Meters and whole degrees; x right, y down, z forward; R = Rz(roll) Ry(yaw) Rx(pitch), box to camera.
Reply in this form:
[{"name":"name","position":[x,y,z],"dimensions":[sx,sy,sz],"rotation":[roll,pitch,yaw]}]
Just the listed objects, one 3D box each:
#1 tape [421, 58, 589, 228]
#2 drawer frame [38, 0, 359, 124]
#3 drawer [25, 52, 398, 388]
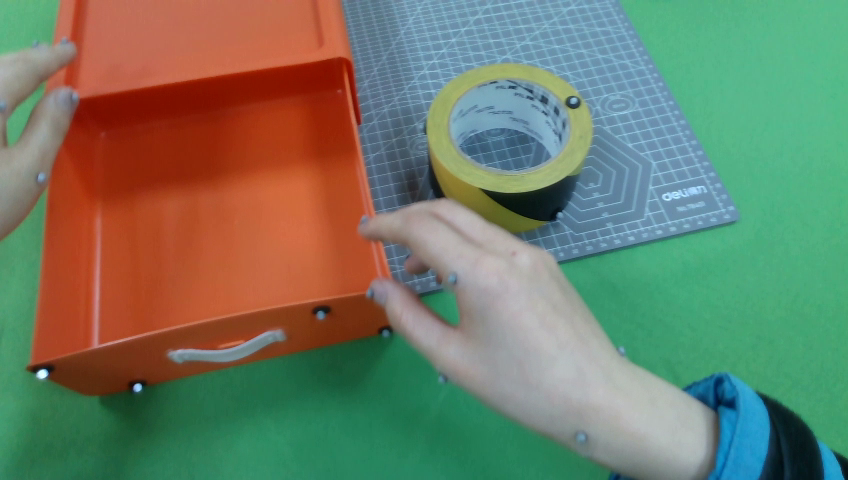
[{"name":"tape","position":[0.056,-0.067,0.422],"dimensions":[0.117,0.053,0.116],"rotation":[-1,62,1]},{"name":"drawer frame","position":[-0.166,-0.175,0.466],"dimensions":[0.202,0.083,0.211],"rotation":[-11,61,-4]},{"name":"drawer","position":[-0.132,-0.028,0.391],"dimensions":[0.195,0.074,0.210],"rotation":[-12,63,-5]}]
